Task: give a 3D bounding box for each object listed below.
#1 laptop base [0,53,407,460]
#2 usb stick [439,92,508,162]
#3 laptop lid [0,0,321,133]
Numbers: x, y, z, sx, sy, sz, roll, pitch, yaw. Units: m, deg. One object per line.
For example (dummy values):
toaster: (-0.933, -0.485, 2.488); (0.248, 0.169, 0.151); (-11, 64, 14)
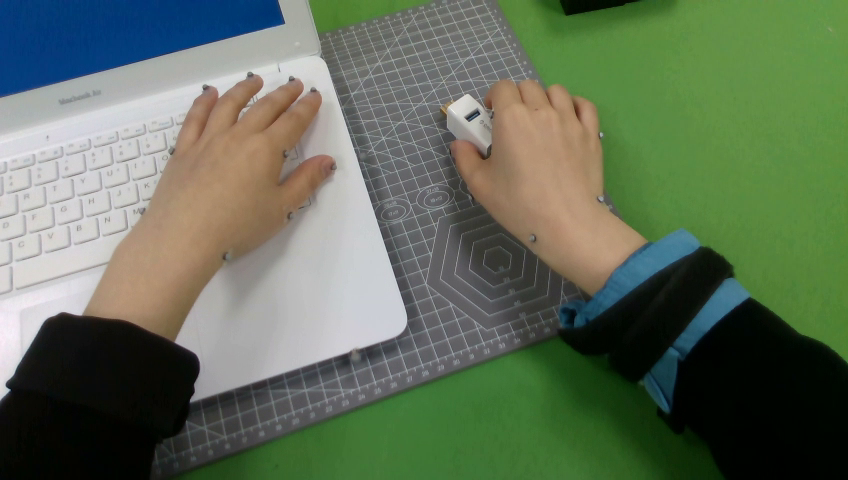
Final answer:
laptop base: (-0.210, 0.008, 0.401); (0.355, 0.023, 0.233); (-17, 67, -6)
usb stick: (0.033, -0.085, 0.431); (0.021, 0.027, 0.058); (-37, 64, -15)
laptop lid: (-0.264, -0.182, 0.378); (0.357, 0.244, 0.013); (-18, 39, -5)
